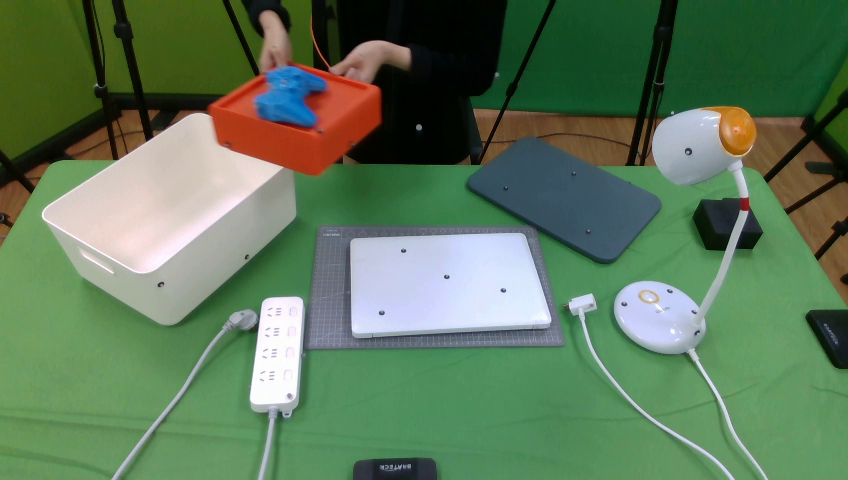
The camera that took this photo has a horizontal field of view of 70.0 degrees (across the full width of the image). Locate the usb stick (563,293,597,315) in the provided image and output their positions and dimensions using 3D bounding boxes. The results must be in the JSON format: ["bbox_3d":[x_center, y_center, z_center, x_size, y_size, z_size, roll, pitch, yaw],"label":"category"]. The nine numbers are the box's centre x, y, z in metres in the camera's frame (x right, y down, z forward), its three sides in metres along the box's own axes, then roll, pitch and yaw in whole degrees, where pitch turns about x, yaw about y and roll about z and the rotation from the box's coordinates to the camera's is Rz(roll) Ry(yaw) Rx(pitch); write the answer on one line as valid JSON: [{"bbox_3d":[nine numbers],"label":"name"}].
[{"bbox_3d":[0.280,0.118,1.093,0.059,0.021,0.027,-18,35,25],"label":"usb stick"}]

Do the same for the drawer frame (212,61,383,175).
[{"bbox_3d":[-0.206,-0.214,1.032,0.201,0.083,0.213,19,41,15],"label":"drawer frame"}]

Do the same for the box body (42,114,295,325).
[{"bbox_3d":[-0.437,-0.046,1.110,0.253,0.161,0.363,24,49,18],"label":"box body"}]

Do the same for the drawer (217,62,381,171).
[{"bbox_3d":[-0.206,-0.215,1.033,0.194,0.073,0.211,20,41,14],"label":"drawer"}]

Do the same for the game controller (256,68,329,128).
[{"bbox_3d":[-0.211,-0.237,0.978,0.097,0.052,0.154,0,38,1],"label":"game controller"}]

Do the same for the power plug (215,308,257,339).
[{"bbox_3d":[-0.317,0.143,1.024,0.072,0.053,0.035,-32,58,-9],"label":"power plug"}]

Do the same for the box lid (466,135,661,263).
[{"bbox_3d":[0.306,-0.102,1.327,0.370,0.015,0.263,32,52,25],"label":"box lid"}]

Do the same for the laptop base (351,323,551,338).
[{"bbox_3d":[0.039,0.080,1.125,0.355,0.023,0.234,-2,43,-6],"label":"laptop base"}]

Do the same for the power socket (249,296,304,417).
[{"bbox_3d":[-0.239,0.182,0.996,0.072,0.033,0.225,-2,47,-5],"label":"power socket"}]

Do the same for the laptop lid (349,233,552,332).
[{"bbox_3d":[0.040,0.070,1.119,0.357,0.013,0.240,-1,44,-5],"label":"laptop lid"}]

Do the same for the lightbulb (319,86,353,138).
[{"bbox_3d":[-0.156,-0.221,1.059,0.059,0.060,0.107,3,57,-1],"label":"lightbulb"}]

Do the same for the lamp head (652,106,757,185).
[{"bbox_3d":[0.411,-0.139,0.869,0.113,0.122,0.112,0,89,-19],"label":"lamp head"}]

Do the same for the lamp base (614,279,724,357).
[{"bbox_3d":[0.436,0.090,1.035,0.161,0.181,0.178,-23,55,-23],"label":"lamp base"}]
